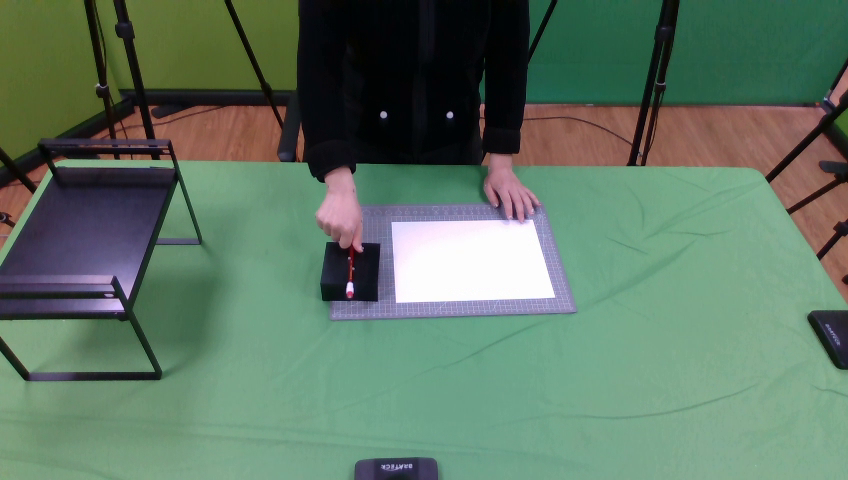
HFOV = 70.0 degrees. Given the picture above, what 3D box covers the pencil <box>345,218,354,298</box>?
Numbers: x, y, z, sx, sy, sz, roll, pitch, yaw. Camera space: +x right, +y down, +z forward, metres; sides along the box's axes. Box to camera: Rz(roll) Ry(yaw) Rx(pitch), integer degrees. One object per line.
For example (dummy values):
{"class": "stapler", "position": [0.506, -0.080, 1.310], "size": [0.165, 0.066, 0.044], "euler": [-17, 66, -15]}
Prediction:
{"class": "pencil", "position": [-0.133, 0.027, 1.095], "size": [0.012, 0.012, 0.193], "euler": [0, 47, -4]}
